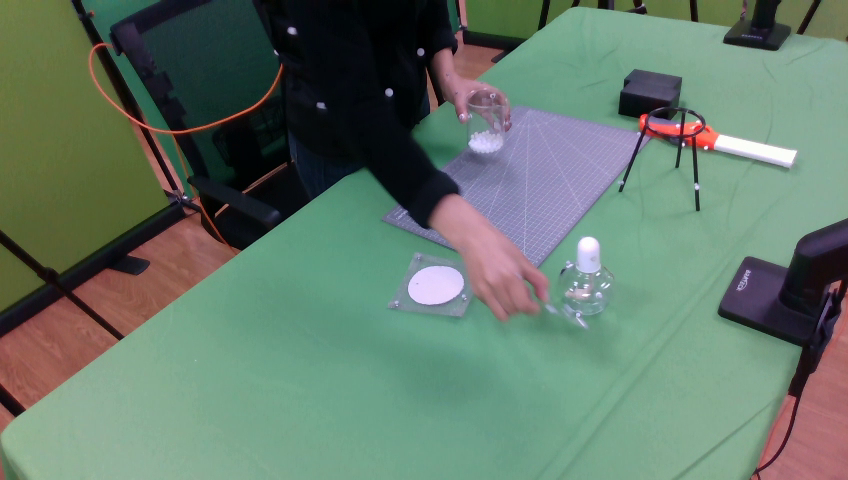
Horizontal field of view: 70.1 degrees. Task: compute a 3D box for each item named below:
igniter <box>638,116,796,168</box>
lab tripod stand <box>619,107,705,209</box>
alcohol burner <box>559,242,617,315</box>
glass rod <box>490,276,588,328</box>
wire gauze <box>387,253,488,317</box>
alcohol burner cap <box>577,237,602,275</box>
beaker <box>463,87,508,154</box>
[{"bbox_3d":[0.517,-0.181,1.093,0.274,0.025,0.057,23,65,32],"label":"igniter"},{"bbox_3d":[0.400,-0.136,0.980,0.148,0.132,0.147,-4,41,4],"label":"lab tripod stand"},{"bbox_3d":[0.222,0.045,0.816,0.078,0.119,0.077,-4,42,4],"label":"alcohol burner"},{"bbox_3d":[0.138,0.074,0.763,0.008,0.008,0.198,-27,24,-19],"label":"glass rod"},{"bbox_3d":[0.021,0.067,0.910,0.121,0.011,0.125,9,41,20],"label":"wire gauze"},{"bbox_3d":[0.217,0.018,0.792,0.034,0.048,0.033,-7,35,5],"label":"alcohol burner cap"},{"bbox_3d":[0.112,-0.212,1.083,0.083,0.100,0.074,21,48,27],"label":"beaker"}]
